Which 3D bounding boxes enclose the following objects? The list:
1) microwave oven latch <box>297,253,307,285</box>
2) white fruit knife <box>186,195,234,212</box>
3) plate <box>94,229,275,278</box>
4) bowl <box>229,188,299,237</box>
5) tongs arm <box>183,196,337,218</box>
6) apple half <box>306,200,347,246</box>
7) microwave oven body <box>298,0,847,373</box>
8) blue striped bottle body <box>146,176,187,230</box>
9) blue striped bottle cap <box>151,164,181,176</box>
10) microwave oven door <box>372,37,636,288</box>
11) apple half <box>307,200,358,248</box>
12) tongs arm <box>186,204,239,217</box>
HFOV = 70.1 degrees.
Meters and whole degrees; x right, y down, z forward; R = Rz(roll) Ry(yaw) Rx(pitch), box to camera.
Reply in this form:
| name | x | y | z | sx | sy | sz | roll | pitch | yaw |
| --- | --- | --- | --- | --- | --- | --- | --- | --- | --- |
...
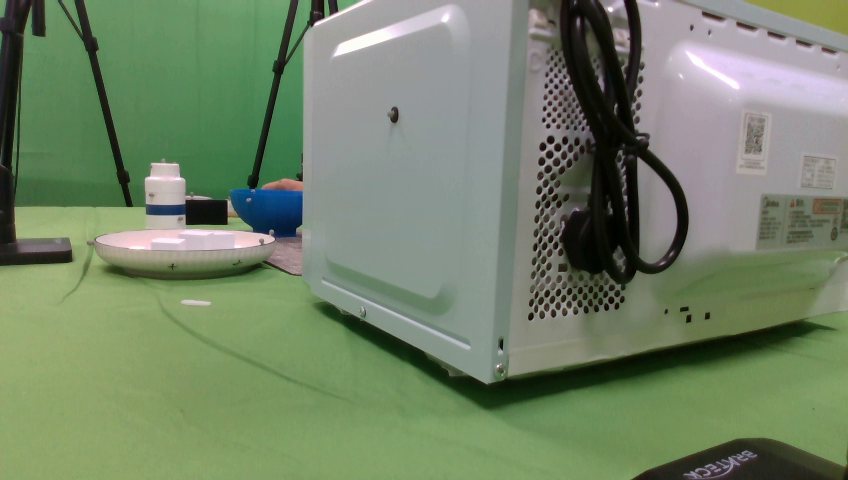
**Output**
| name | x | y | z | sx | sy | sz | roll | pitch | yaw |
| --- | --- | --- | --- | --- | --- | --- | --- | --- | --- |
| microwave oven latch | -0.081 | 0.027 | 0.582 | 0.079 | 0.029 | 0.030 | -1 | 7 | -32 |
| white fruit knife | -0.401 | -0.072 | 1.275 | 0.208 | 0.027 | 0.016 | 10 | 0 | -35 |
| plate | -0.291 | 0.016 | 0.750 | 0.208 | 0.039 | 0.207 | 2 | 7 | 0 |
| bowl | -0.265 | -0.048 | 1.066 | 0.151 | 0.077 | 0.151 | 3 | 8 | 0 |
| tongs arm | -0.404 | -0.081 | 1.479 | 0.385 | 0.026 | 0.050 | 3 | 8 | -2 |
| apple half | -0.162 | -0.029 | 0.965 | 0.032 | 0.081 | 0.082 | 13 | 13 | 43 |
| microwave oven body | 0.151 | -0.055 | 0.542 | 0.444 | 0.260 | 0.324 | -2 | 7 | -33 |
| blue striped bottle body | -0.430 | -0.065 | 1.010 | 0.063 | 0.120 | 0.063 | 2 | 7 | 0 |
| blue striped bottle cap | -0.428 | -0.116 | 1.002 | 0.044 | 0.020 | 0.044 | 1 | 6 | 0 |
| microwave oven door | 0.109 | -0.080 | 0.686 | 0.358 | 0.243 | 0.039 | -2 | 9 | -33 |
| apple half | -0.134 | -0.024 | 0.938 | 0.053 | 0.074 | 0.081 | 13 | 9 | 43 |
| tongs arm | -0.396 | -0.066 | 1.399 | 0.389 | 0.028 | 0.028 | 1 | 5 | -15 |
